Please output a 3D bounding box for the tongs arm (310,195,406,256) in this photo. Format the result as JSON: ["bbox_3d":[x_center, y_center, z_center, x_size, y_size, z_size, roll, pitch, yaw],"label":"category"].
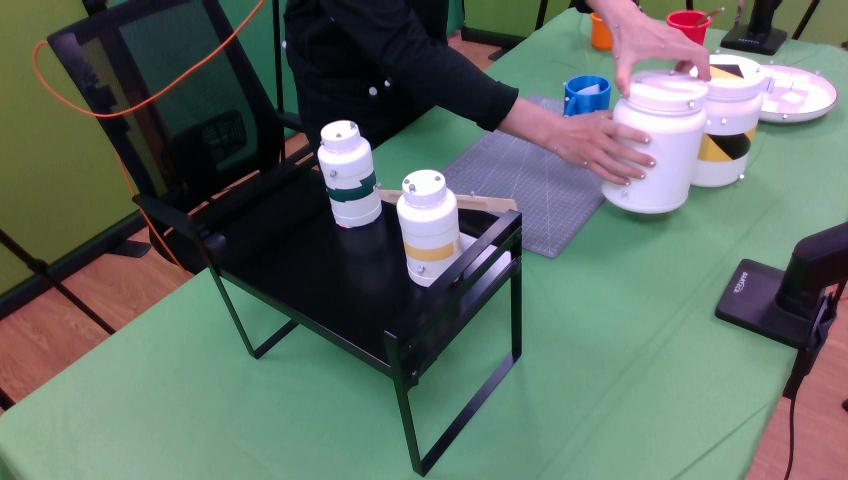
[{"bbox_3d":[-0.078,-0.012,0.944,0.028,0.028,0.384,-43,39,-22],"label":"tongs arm"}]

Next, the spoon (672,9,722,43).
[{"bbox_3d":[0.606,-0.476,1.345,0.042,0.021,0.193,-6,-3,-2],"label":"spoon"}]

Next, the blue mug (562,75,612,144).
[{"bbox_3d":[0.298,-0.239,1.143,0.117,0.106,0.081,-37,48,-29],"label":"blue mug"}]

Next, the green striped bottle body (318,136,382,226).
[{"bbox_3d":[-0.090,-0.080,0.733,0.063,0.120,0.063,-5,41,4],"label":"green striped bottle body"}]

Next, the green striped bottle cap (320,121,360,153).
[{"bbox_3d":[-0.097,-0.120,0.699,0.044,0.020,0.044,-3,40,3],"label":"green striped bottle cap"}]

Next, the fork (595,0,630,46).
[{"bbox_3d":[0.480,-0.556,1.452,0.028,0.019,0.207,41,103,40],"label":"fork"}]

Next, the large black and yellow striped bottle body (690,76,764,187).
[{"bbox_3d":[0.482,-0.196,1.007,0.131,0.185,0.130,-4,41,4],"label":"large black and yellow striped bottle body"}]

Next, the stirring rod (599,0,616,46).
[{"bbox_3d":[0.437,-0.551,1.462,0.014,0.006,0.175,-12,83,1],"label":"stirring rod"}]

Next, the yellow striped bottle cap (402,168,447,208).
[{"bbox_3d":[0.000,-0.052,0.604,0.044,0.019,0.044,-4,43,5],"label":"yellow striped bottle cap"}]

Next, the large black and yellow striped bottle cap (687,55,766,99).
[{"bbox_3d":[0.474,-0.258,0.952,0.115,0.019,0.114,-5,41,5],"label":"large black and yellow striped bottle cap"}]

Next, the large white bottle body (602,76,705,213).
[{"bbox_3d":[0.348,-0.148,0.919,0.130,0.185,0.130,-2,37,2],"label":"large white bottle body"}]

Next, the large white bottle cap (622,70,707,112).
[{"bbox_3d":[0.344,-0.216,0.869,0.115,0.018,0.114,-1,37,1],"label":"large white bottle cap"}]

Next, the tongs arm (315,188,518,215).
[{"bbox_3d":[-0.028,-0.060,0.988,0.382,0.027,0.051,9,45,36],"label":"tongs arm"}]

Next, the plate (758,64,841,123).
[{"bbox_3d":[0.694,-0.283,1.189,0.207,0.039,0.206,-4,40,4],"label":"plate"}]

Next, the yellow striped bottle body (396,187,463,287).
[{"bbox_3d":[0.006,-0.013,0.638,0.063,0.121,0.062,-5,41,5],"label":"yellow striped bottle body"}]
